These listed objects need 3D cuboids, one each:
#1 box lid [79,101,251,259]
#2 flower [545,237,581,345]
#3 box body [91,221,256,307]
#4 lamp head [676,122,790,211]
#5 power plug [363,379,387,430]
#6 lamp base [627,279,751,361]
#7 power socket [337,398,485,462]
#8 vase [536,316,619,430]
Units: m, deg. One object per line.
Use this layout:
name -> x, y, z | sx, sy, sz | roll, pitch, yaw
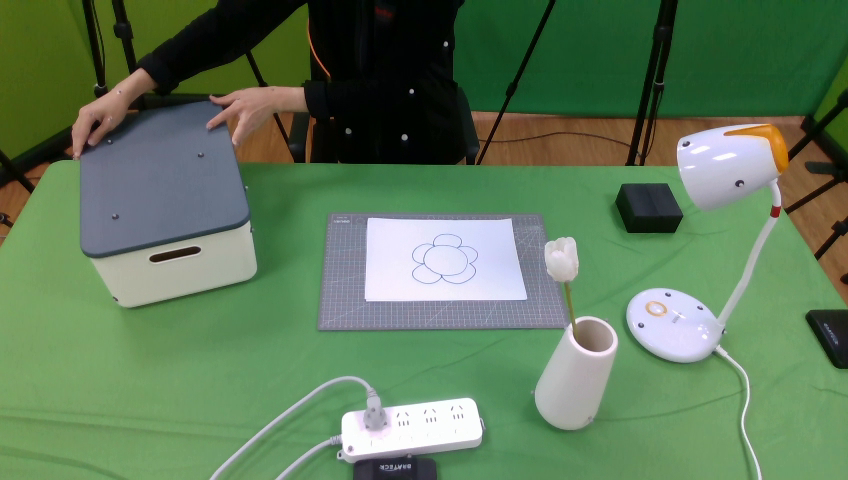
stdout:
box lid -> -0.466, -0.122, 1.072 | 0.263, 0.015, 0.369 | -14, 50, -16
flower -> 0.213, 0.137, 0.846 | 0.038, 0.364, 0.044 | 22, 55, 40
box body -> -0.471, -0.070, 1.131 | 0.254, 0.161, 0.361 | -14, 49, -17
lamp head -> 0.423, -0.104, 0.819 | 0.122, 0.113, 0.112 | -13, 33, 40
power plug -> -0.071, 0.252, 0.911 | 0.035, 0.053, 0.072 | 3, 40, 0
lamp base -> 0.460, 0.100, 1.027 | 0.178, 0.181, 0.160 | 27, 51, 17
power socket -> -0.018, 0.285, 0.914 | 0.227, 0.033, 0.071 | -4, 46, -8
vase -> 0.229, 0.200, 0.901 | 0.098, 0.201, 0.097 | 3, 46, -3
